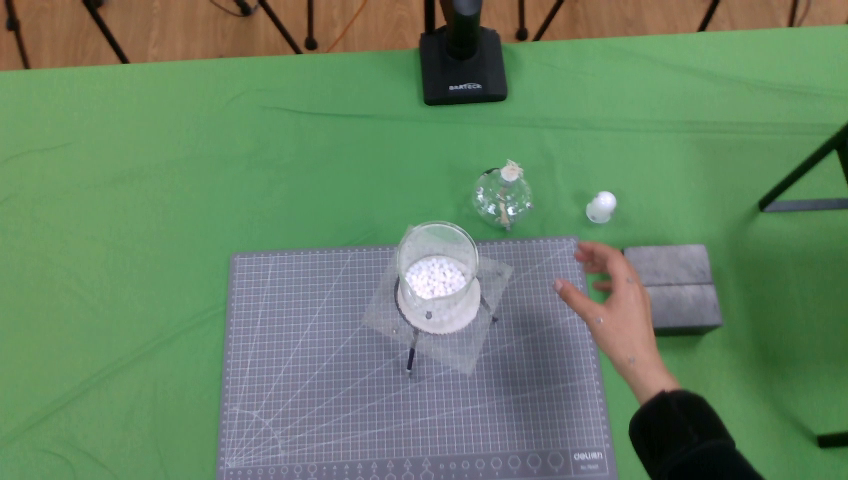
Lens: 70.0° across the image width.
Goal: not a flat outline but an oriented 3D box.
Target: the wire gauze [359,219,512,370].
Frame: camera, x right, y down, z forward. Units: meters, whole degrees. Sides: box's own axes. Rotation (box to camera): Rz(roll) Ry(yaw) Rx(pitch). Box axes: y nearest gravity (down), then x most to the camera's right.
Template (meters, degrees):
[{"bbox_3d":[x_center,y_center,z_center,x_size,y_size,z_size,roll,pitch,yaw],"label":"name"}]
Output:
[{"bbox_3d":[0.013,0.051,0.622,0.125,0.011,0.121,25,72,6],"label":"wire gauze"}]

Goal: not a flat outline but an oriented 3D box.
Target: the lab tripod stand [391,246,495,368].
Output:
[{"bbox_3d":[0.015,0.069,0.685,0.148,0.132,0.147,1,68,-1],"label":"lab tripod stand"}]

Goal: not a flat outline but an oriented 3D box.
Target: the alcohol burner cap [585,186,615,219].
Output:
[{"bbox_3d":[0.230,-0.051,0.785,0.034,0.048,0.033,0,68,1],"label":"alcohol burner cap"}]

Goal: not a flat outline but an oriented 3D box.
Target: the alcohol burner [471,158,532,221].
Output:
[{"bbox_3d":[0.099,-0.070,0.752,0.078,0.120,0.077,1,69,-2],"label":"alcohol burner"}]

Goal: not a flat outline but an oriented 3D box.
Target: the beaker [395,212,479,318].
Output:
[{"bbox_3d":[0.009,0.032,0.577,0.074,0.101,0.083,21,70,7],"label":"beaker"}]
